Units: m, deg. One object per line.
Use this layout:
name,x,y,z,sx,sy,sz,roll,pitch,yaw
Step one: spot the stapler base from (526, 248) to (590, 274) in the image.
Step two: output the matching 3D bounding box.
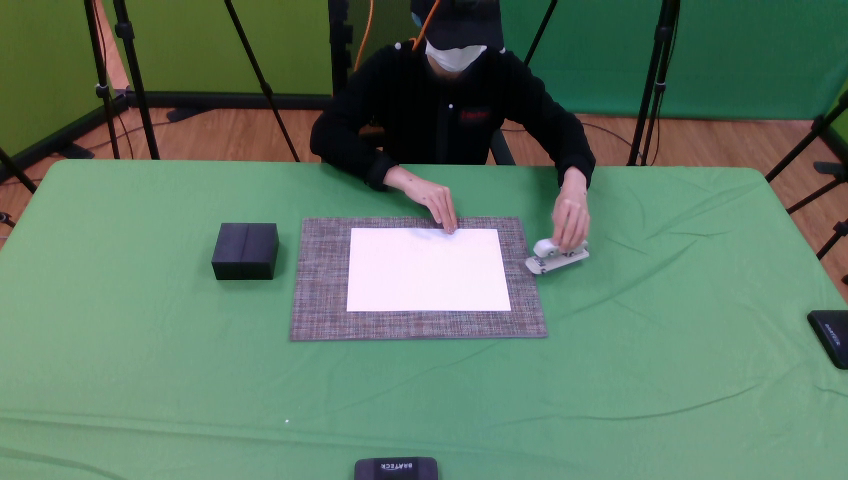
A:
stapler base,0.259,0.028,1.166,0.131,0.024,0.041,-17,49,-23

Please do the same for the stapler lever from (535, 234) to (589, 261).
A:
stapler lever,0.262,0.009,1.149,0.118,0.040,0.026,-17,49,-23
